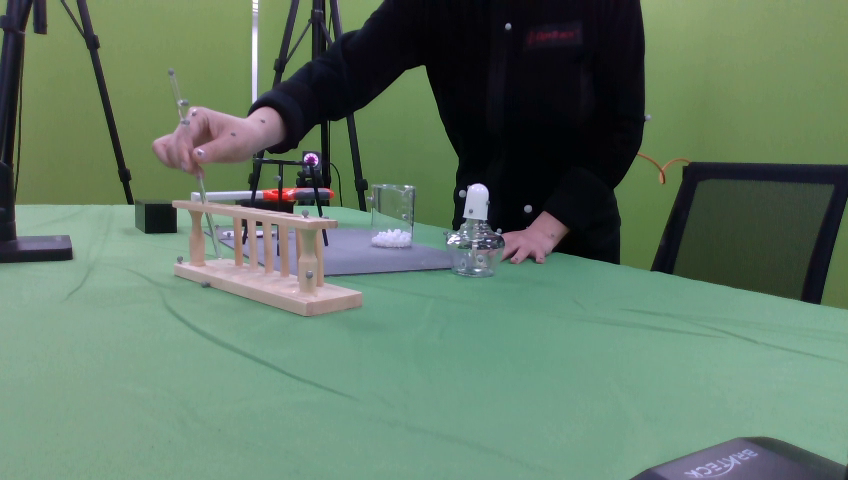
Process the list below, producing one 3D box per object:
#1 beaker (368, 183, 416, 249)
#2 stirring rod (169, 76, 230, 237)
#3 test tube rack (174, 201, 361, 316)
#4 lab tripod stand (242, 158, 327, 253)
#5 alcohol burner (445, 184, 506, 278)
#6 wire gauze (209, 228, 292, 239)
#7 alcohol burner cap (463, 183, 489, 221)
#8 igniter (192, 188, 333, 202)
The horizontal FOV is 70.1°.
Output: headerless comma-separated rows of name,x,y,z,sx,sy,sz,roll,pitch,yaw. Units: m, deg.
beaker,-0.050,-0.039,0.971,0.074,0.100,0.083,-1,9,-25
stirring rod,-0.238,-0.087,0.644,0.006,0.176,0.014,-16,11,-1
test tube rack,-0.169,0.010,0.621,0.241,0.085,0.067,9,9,41
lab tripod stand,-0.207,-0.054,0.894,0.148,0.131,0.148,3,5,0
alcohol burner,0.065,-0.012,0.770,0.078,0.119,0.078,0,7,0
wire gauze,-0.298,-0.013,1.039,0.122,0.011,0.124,-2,6,-27
alcohol burner cap,0.067,-0.048,0.765,0.034,0.048,0.034,5,5,0
igniter,-0.316,-0.090,1.212,0.278,0.025,0.057,-5,12,-32
